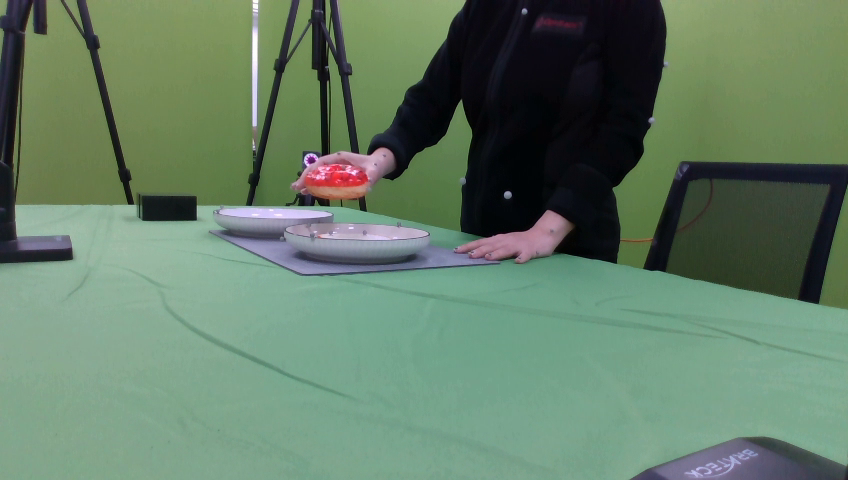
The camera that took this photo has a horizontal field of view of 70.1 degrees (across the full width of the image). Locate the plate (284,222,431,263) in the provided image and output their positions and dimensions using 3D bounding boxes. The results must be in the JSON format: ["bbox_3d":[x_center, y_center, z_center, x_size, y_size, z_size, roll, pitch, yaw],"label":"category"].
[{"bbox_3d":[-0.094,0.003,0.868,0.209,0.038,0.209,2,7,0],"label":"plate"}]

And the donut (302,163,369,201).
[{"bbox_3d":[-0.131,-0.087,0.901,0.099,0.048,0.099,3,18,-1],"label":"donut"}]

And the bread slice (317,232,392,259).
[{"bbox_3d":[-0.096,0.006,0.863,0.107,0.018,0.133,-2,10,-30],"label":"bread slice"}]

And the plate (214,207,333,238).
[{"bbox_3d":[-0.268,-0.032,1.084,0.208,0.039,0.207,2,7,0],"label":"plate"}]
